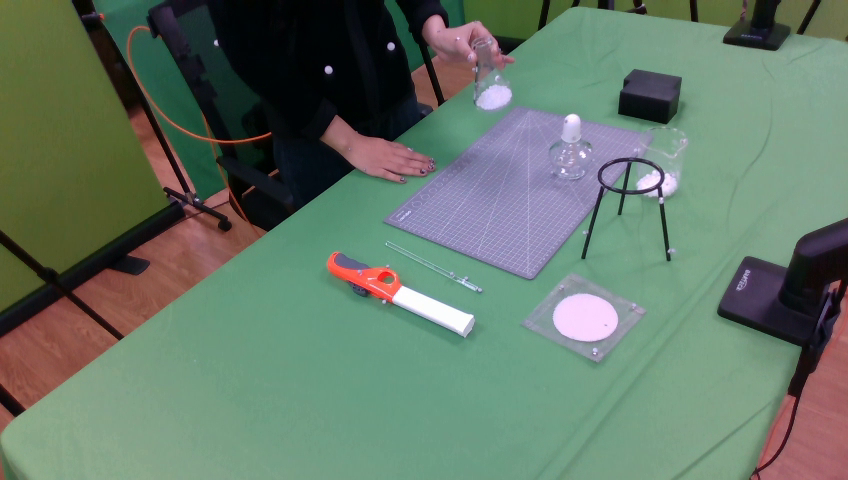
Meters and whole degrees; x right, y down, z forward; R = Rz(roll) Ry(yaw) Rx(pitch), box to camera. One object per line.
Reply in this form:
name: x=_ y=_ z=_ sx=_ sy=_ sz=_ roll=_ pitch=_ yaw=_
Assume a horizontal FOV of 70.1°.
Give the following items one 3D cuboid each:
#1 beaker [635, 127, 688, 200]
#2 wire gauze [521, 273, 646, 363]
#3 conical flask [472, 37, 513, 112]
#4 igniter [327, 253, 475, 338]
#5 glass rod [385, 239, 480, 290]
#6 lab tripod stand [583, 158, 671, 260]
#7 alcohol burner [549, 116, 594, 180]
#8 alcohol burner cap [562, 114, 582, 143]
beaker: x=0.388 y=-0.122 z=0.994 sx=0.074 sy=0.101 sz=0.083 roll=-8 pitch=40 yaw=2
wire gauze: x=0.219 y=0.105 z=0.830 sx=0.120 sy=0.011 sz=0.125 roll=28 pitch=54 yaw=37
conical flask: x=0.115 y=-0.299 z=1.084 sx=0.075 sy=0.122 sz=0.075 roll=-10 pitch=43 yaw=10
igniter: x=-0.045 y=0.077 z=0.898 sx=0.274 sy=0.025 sz=0.057 roll=22 pitch=60 yaw=32
glass rod: x=0.009 y=0.037 z=0.950 sx=0.198 sy=0.008 sz=0.008 roll=26 pitch=52 yaw=35
lab tripod stand: x=0.300 y=-0.046 z=0.895 sx=0.148 sy=0.132 sz=0.147 roll=-7 pitch=38 yaw=6
alcohol burner: x=0.258 y=-0.166 z=1.055 sx=0.078 sy=0.120 sz=0.077 roll=-6 pitch=42 yaw=6
alcohol burner cap: x=0.254 y=-0.192 z=1.030 sx=0.034 sy=0.048 sz=0.033 roll=-4 pitch=50 yaw=6
